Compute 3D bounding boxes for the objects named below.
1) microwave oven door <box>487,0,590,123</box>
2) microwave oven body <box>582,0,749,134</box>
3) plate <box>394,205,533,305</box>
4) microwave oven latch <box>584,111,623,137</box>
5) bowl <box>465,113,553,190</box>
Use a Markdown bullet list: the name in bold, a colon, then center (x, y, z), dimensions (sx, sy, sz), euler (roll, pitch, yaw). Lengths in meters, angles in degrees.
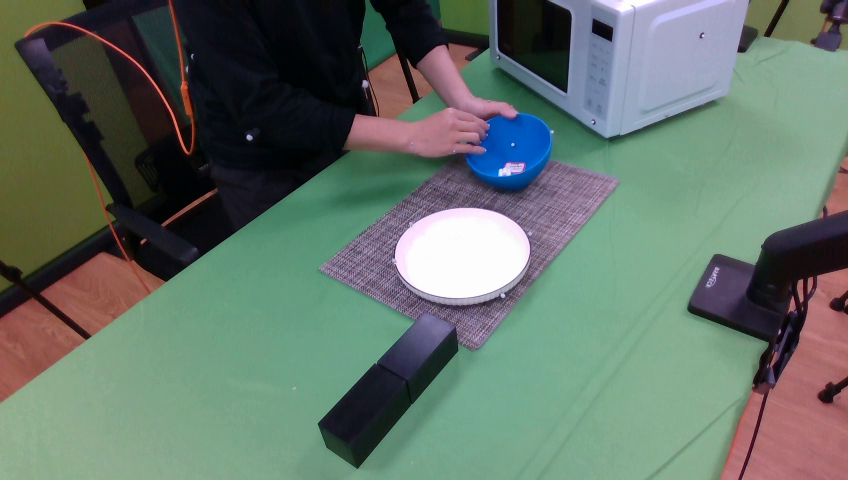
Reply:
- **microwave oven door**: center (0.232, -0.420, 1.231), dimensions (0.039, 0.245, 0.352), euler (-22, 43, -16)
- **microwave oven body**: center (0.382, -0.445, 1.246), dimensions (0.327, 0.261, 0.437), euler (-22, 42, -16)
- **plate**: center (0.059, 0.025, 0.915), dimensions (0.207, 0.039, 0.206), euler (-4, 41, 4)
- **microwave oven latch**: center (0.337, -0.222, 1.142), dimensions (0.030, 0.029, 0.078), euler (-21, 42, -14)
- **bowl**: center (0.152, -0.141, 1.052), dimensions (0.151, 0.077, 0.150), euler (-9, 52, 12)
